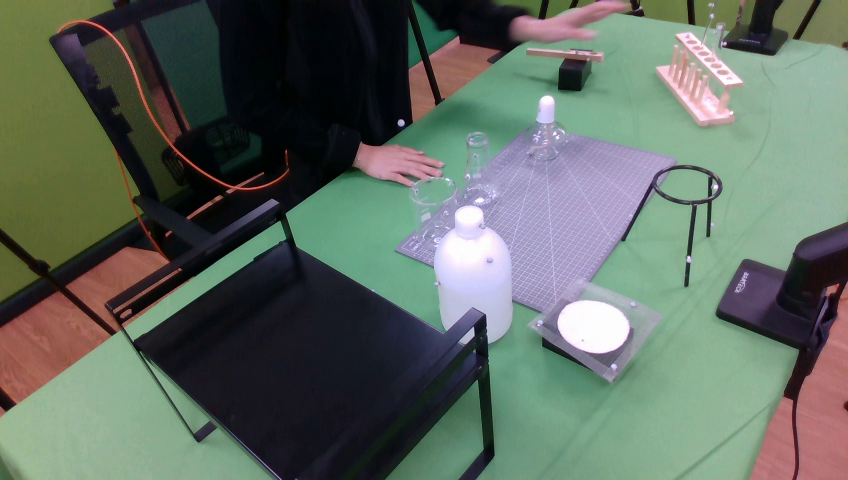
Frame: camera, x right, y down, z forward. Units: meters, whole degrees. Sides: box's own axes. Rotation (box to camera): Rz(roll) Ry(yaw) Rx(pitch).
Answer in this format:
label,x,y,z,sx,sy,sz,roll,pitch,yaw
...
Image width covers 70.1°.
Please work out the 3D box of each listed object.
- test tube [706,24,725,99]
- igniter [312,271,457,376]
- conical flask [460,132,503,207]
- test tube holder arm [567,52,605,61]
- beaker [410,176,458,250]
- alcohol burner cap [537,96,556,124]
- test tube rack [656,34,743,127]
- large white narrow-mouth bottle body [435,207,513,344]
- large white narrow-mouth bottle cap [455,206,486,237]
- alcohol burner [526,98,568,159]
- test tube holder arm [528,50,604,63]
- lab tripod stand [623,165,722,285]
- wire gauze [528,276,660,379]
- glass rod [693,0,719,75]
label,x,y,z,sx,sy,sz,roll,pitch,yaw
test tube,0.564,-0.342,1.169,0.017,0.151,0.017,-7,39,6
igniter,-0.068,0.111,0.859,0.274,0.025,0.057,27,61,34
conical flask,0.096,-0.123,1.030,0.075,0.122,0.075,-4,40,4
test tube holder arm,0.352,-0.402,1.325,0.087,0.015,0.010,15,40,31
beaker,0.022,-0.041,0.963,0.073,0.101,0.084,28,51,34
alcohol burner cap,0.223,-0.237,1.095,0.034,0.048,0.033,-2,37,2
test tube rack,0.553,-0.330,1.233,0.067,0.085,0.241,-7,40,2
large white narrow-mouth bottle body,0.065,0.041,0.791,0.102,0.195,0.101,-4,41,4
large white narrow-mouth bottle cap,0.057,-0.023,0.734,0.038,0.024,0.037,-4,40,4
alcohol burner,0.228,-0.210,1.118,0.078,0.119,0.077,-5,43,5
test tube holder arm,0.312,-0.409,1.344,0.177,0.015,0.013,15,39,30
lab tripod stand,0.365,-0.030,0.875,0.148,0.132,0.147,-6,41,6
wire gauze,0.213,0.103,0.763,0.124,0.011,0.122,30,52,35
glass rod,0.561,-0.402,1.214,0.008,0.200,0.008,-1,49,2
